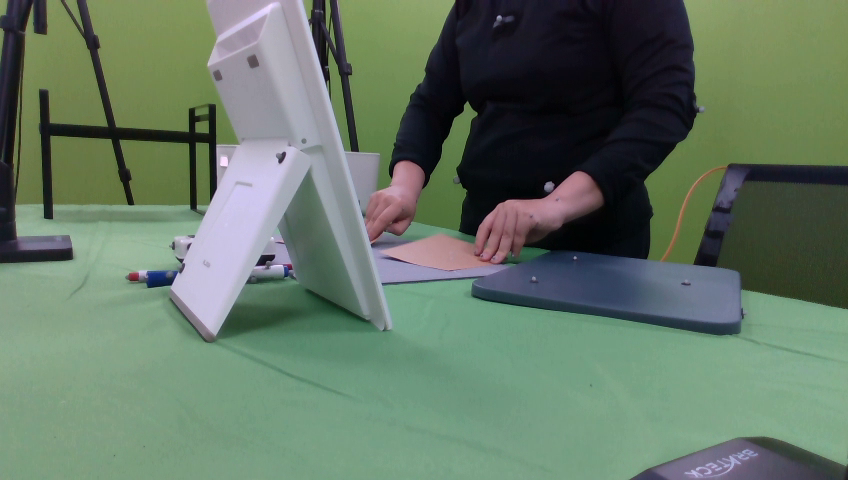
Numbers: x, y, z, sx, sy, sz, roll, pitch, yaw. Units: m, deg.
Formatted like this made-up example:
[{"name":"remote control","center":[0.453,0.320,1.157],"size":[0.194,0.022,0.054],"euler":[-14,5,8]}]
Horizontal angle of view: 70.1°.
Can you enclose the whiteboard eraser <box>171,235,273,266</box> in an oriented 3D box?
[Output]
[{"name":"whiteboard eraser","center":[-0.249,0.014,0.747],"size":[0.113,0.042,0.055],"euler":[-2,10,-32]}]

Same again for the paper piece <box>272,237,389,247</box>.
[{"name":"paper piece","center":[-0.151,0.004,0.978],"size":[0.135,0.008,0.139],"euler":[12,11,35]}]

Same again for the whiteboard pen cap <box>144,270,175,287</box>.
[{"name":"whiteboard pen cap","center":[-0.272,0.039,0.627],"size":[0.033,0.018,0.018],"euler":[-2,9,-32]}]

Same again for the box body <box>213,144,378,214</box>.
[{"name":"box body","center":[-0.329,-0.154,1.543],"size":[0.366,0.160,0.253],"euler":[-2,9,-32]}]

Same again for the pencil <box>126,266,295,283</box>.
[{"name":"pencil","center":[-0.231,0.037,0.690],"size":[0.195,0.012,0.012],"euler":[-2,9,-34]}]

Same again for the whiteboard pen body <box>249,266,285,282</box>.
[{"name":"whiteboard pen body","center":[-0.221,0.039,0.656],"size":[0.141,0.017,0.017],"euler":[-2,9,-31]}]

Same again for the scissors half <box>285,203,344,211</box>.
[{"name":"scissors half","center":[-0.281,-0.083,1.552],"size":[0.040,0.013,0.176],"euler":[-1,7,45]}]

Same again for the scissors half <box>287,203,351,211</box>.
[{"name":"scissors half","center":[-0.269,-0.081,1.534],"size":[0.176,0.013,0.040],"euler":[-7,10,-24]}]

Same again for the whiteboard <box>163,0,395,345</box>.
[{"name":"whiteboard","center":[-0.173,-0.053,0.510],"size":[0.144,0.305,0.216],"euler":[-23,19,-26]}]

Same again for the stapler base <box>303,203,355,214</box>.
[{"name":"stapler base","center":[-0.235,-0.081,1.510],"size":[0.131,0.024,0.041],"euler":[3,11,-35]}]

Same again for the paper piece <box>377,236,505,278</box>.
[{"name":"paper piece","center":[0.025,0.021,0.863],"size":[0.134,0.004,0.136],"euler":[20,22,39]}]

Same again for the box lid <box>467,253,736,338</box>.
[{"name":"box lid","center":[0.233,0.054,0.735],"size":[0.262,0.015,0.373],"euler":[7,8,26]}]

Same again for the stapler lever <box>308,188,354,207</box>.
[{"name":"stapler lever","center":[-0.231,-0.106,1.508],"size":[0.119,0.040,0.026],"euler":[4,10,-35]}]
